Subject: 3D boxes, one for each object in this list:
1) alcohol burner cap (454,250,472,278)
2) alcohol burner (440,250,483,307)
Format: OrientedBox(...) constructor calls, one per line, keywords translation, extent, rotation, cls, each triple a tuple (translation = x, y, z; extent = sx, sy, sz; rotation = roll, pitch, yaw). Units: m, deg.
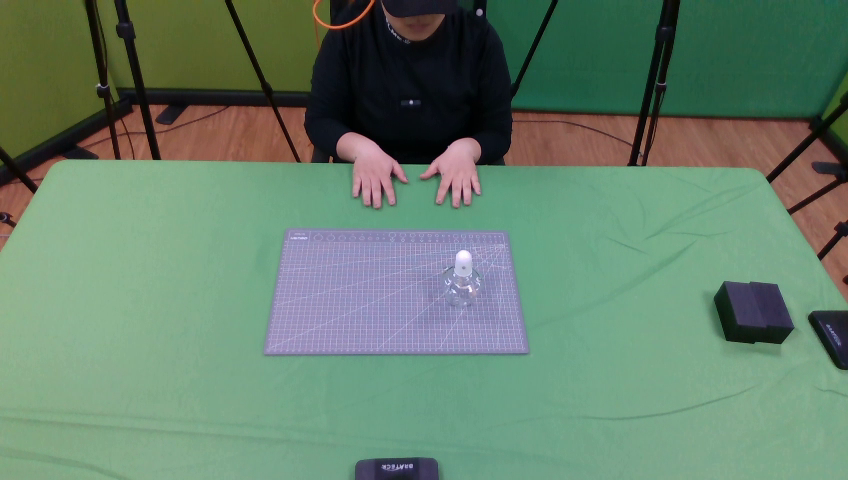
OrientedBox(translation=(0.068, 0.039, 1.049), extent=(0.034, 0.048, 0.033), rotation=(-2, 45, 2), cls="alcohol burner cap")
OrientedBox(translation=(0.068, 0.064, 1.076), extent=(0.078, 0.120, 0.077), rotation=(1, 45, -1), cls="alcohol burner")
